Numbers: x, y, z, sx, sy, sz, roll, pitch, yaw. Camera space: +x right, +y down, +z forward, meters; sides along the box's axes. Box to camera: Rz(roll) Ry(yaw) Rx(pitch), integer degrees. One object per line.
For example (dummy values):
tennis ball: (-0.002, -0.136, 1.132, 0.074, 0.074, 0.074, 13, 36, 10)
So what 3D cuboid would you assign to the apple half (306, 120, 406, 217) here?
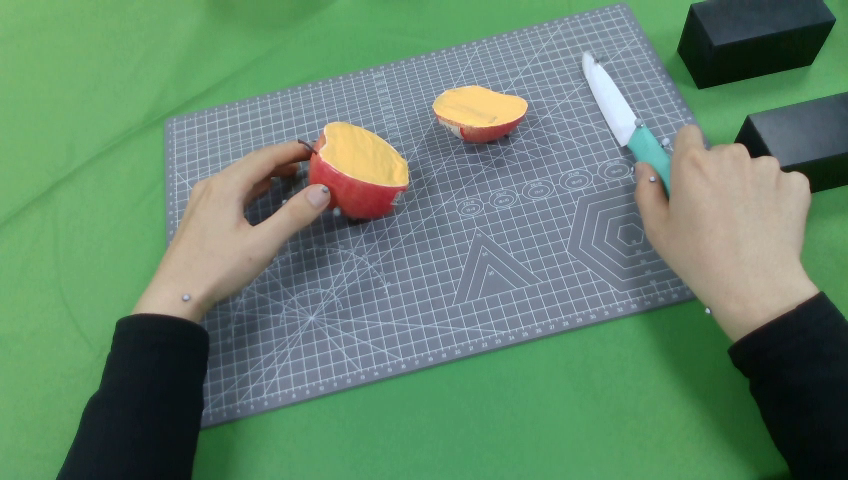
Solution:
apple half: (-0.057, -0.049, 0.477, 0.075, 0.053, 0.080, 15, 37, -20)

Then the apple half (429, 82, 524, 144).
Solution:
apple half: (0.041, -0.099, 0.505, 0.081, 0.033, 0.080, -1, 41, 2)

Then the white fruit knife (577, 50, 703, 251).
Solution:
white fruit knife: (0.169, -0.084, 0.492, 0.027, 0.016, 0.205, -40, 55, 33)
